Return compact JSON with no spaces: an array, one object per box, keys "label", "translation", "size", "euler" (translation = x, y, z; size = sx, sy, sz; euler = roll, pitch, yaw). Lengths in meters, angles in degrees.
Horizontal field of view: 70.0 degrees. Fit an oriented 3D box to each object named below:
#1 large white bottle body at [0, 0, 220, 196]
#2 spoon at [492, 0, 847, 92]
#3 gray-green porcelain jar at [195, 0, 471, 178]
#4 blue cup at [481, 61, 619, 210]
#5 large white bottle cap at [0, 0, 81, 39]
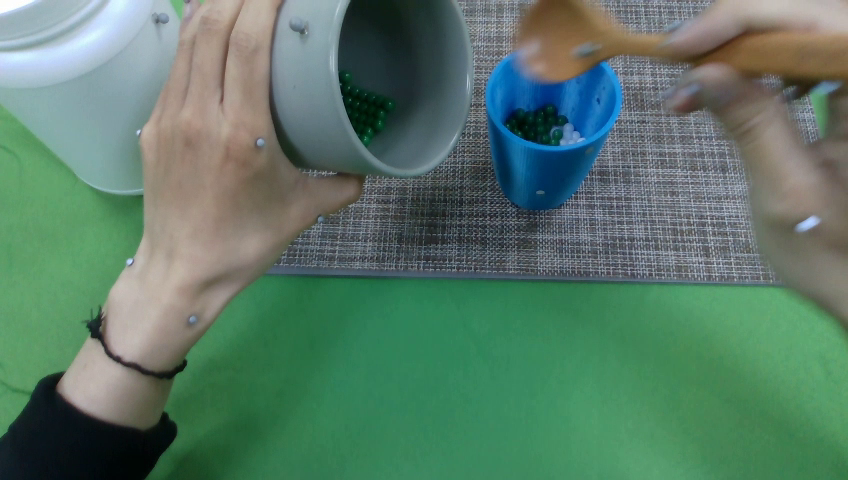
[{"label":"large white bottle body","translation":[-0.233,-0.127,0.421],"size":[0.130,0.186,0.129],"euler":[-1,65,2]},{"label":"spoon","translation":[0.079,-0.070,0.230],"size":[0.022,0.042,0.192],"euler":[-10,23,-19]},{"label":"gray-green porcelain jar","translation":[-0.055,-0.091,0.337],"size":[0.125,0.107,0.105],"euler":[10,63,38]},{"label":"blue cup","translation":[0.082,-0.070,0.423],"size":[0.092,0.101,0.092],"euler":[-2,64,4]},{"label":"large white bottle cap","translation":[-0.238,-0.162,0.343],"size":[0.115,0.018,0.114],"euler":[-1,66,2]}]
